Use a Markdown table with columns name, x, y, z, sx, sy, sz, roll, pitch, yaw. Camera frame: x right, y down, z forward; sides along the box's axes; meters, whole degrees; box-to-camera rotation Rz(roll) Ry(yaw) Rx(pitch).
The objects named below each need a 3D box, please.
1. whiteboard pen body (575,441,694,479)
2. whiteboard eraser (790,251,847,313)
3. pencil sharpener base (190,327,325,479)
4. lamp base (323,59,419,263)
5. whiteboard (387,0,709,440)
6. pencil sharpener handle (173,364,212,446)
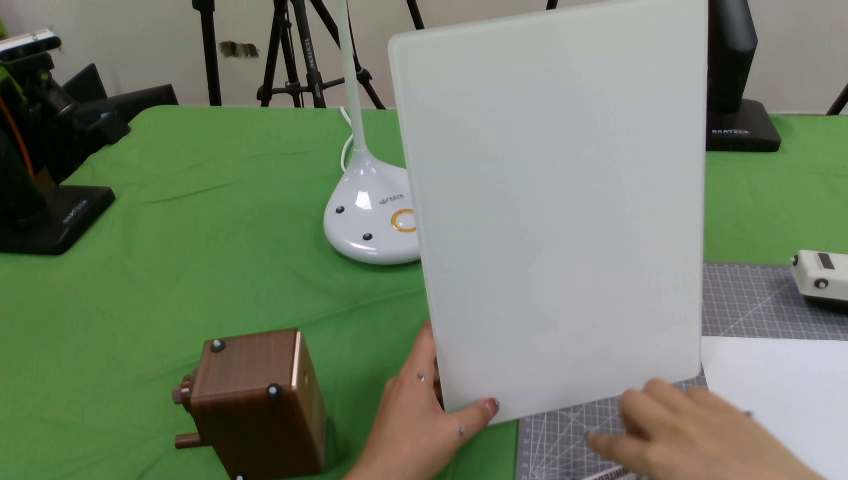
| name | x | y | z | sx | sy | sz | roll | pitch | yaw |
| --- | --- | --- | --- | --- | --- | --- | --- | --- | --- |
| whiteboard pen body | 0.135 | 0.170 | 0.436 | 0.141 | 0.017 | 0.017 | -16 | 40 | -13 |
| whiteboard eraser | 0.396 | 0.042 | 0.543 | 0.112 | 0.042 | 0.055 | 9 | 32 | 17 |
| pencil sharpener base | -0.121 | 0.124 | 0.452 | 0.077 | 0.108 | 0.060 | -7 | 40 | -2 |
| lamp base | -0.049 | -0.093 | 0.652 | 0.161 | 0.182 | 0.177 | -29 | 43 | -26 |
| whiteboard | 0.094 | -0.025 | 0.501 | 0.217 | 0.307 | 0.142 | -11 | 20 | -5 |
| pencil sharpener handle | -0.172 | 0.123 | 0.440 | 0.030 | 0.068 | 0.035 | -7 | 27 | -1 |
